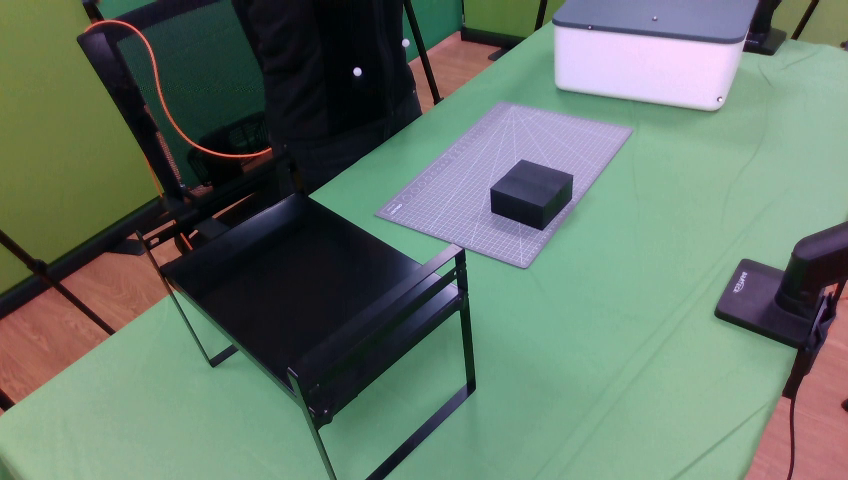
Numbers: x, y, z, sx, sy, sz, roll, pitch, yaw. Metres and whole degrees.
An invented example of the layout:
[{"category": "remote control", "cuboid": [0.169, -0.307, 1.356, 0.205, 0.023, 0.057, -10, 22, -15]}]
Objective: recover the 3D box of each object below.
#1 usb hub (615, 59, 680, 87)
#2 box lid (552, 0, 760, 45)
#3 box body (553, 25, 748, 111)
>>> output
[{"category": "usb hub", "cuboid": [0.484, -0.363, 1.311, 0.124, 0.025, 0.049, 21, 46, 27]}, {"category": "box lid", "cuboid": [0.470, -0.473, 1.235, 0.369, 0.015, 0.263, 16, 46, 25]}, {"category": "box body", "cuboid": [0.480, -0.417, 1.282, 0.362, 0.161, 0.254, 16, 46, 25]}]
